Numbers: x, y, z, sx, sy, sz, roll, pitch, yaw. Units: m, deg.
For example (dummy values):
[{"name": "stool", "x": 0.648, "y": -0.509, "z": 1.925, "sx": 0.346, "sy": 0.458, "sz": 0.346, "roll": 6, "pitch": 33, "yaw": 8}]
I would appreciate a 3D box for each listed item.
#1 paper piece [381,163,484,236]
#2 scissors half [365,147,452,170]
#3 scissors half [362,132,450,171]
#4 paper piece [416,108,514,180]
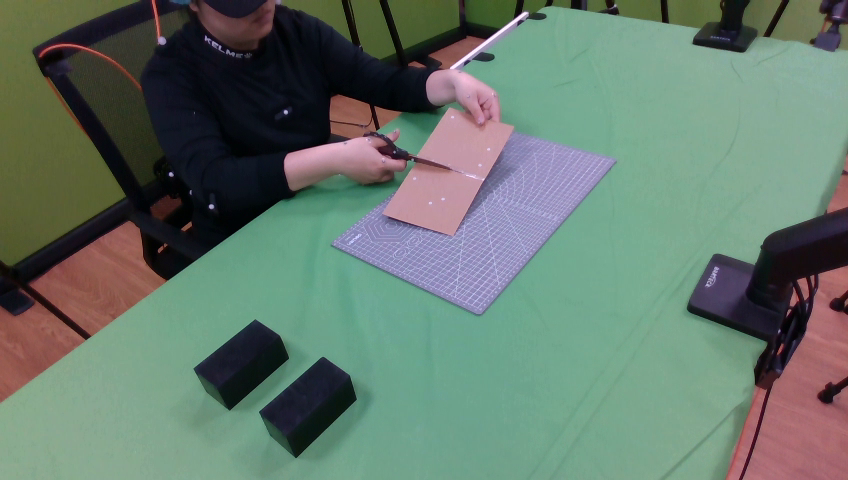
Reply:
[{"name": "paper piece", "x": 0.016, "y": -0.074, "z": 1.034, "sx": 0.135, "sy": 0.004, "sz": 0.135, "roll": 18, "pitch": 58, "yaw": 21}, {"name": "scissors half", "x": -0.030, "y": -0.142, "z": 1.099, "sx": 0.174, "sy": 0.040, "sz": 0.013, "roll": 12, "pitch": 54, "yaw": 24}, {"name": "scissors half", "x": -0.031, "y": -0.155, "z": 1.082, "sx": 0.175, "sy": 0.040, "sz": 0.013, "roll": 24, "pitch": 62, "yaw": 5}, {"name": "paper piece", "x": 0.076, "y": -0.178, "z": 1.098, "sx": 0.135, "sy": 0.009, "sz": 0.138, "roll": 24, "pitch": 60, "yaw": 14}]
